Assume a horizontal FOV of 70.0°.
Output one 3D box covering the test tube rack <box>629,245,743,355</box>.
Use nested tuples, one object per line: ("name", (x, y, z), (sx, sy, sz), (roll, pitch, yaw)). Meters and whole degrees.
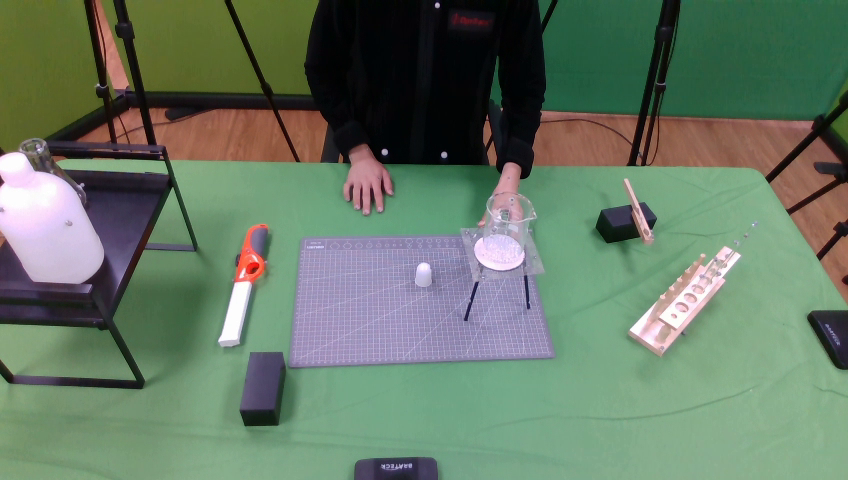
("test tube rack", (0.474, 0.095, 1.091), (0.242, 0.085, 0.066), (-34, 56, -31))

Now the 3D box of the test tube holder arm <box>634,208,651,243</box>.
("test tube holder arm", (0.428, -0.030, 1.189), (0.010, 0.015, 0.087), (1, 47, -2))

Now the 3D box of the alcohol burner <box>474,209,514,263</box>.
("alcohol burner", (0.134, -0.013, 1.150), (0.078, 0.120, 0.077), (0, 47, 0))

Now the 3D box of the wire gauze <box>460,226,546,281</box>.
("wire gauze", (0.130, 0.017, 1.016), (0.121, 0.011, 0.124), (-4, 43, -9))

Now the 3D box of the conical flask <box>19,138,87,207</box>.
("conical flask", (-0.576, -0.097, 0.930), (0.075, 0.122, 0.075), (2, 46, -2))

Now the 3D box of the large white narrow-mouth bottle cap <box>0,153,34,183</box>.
("large white narrow-mouth bottle cap", (-0.510, -0.090, 0.754), (0.038, 0.024, 0.037), (2, 46, -2))

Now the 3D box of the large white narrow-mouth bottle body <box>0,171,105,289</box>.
("large white narrow-mouth bottle body", (-0.513, -0.029, 0.818), (0.102, 0.195, 0.101), (2, 46, -2))

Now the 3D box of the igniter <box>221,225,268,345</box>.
("igniter", (-0.323, 0.072, 1.100), (0.057, 0.025, 0.274), (-6, 45, 5))

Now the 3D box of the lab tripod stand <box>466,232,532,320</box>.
("lab tripod stand", (0.125, 0.059, 1.065), (0.148, 0.132, 0.147), (1, 45, 0))

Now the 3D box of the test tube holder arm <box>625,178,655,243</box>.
("test tube holder arm", (0.433, -0.062, 1.220), (0.013, 0.015, 0.177), (1, 47, -3))

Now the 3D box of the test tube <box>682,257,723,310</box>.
("test tube", (0.475, 0.080, 1.038), (0.017, 0.151, 0.017), (1, 50, -1))

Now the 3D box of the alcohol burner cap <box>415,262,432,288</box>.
("alcohol burner cap", (0.000, 0.061, 1.119), (0.034, 0.048, 0.033), (3, 43, -3))

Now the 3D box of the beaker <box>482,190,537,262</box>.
("beaker", (0.136, -0.019, 0.983), (0.084, 0.101, 0.073), (17, 47, 14))

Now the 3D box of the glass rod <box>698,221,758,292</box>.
("glass rod", (0.528, 0.035, 1.059), (0.008, 0.200, 0.008), (5, 49, -6))
